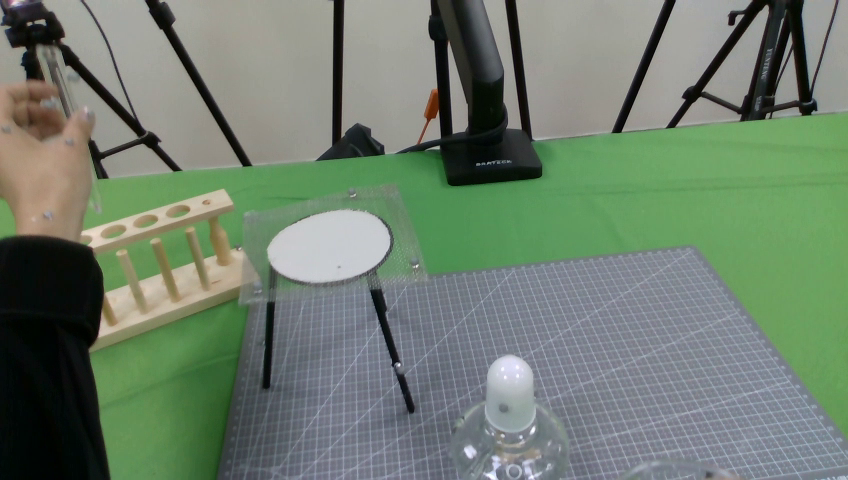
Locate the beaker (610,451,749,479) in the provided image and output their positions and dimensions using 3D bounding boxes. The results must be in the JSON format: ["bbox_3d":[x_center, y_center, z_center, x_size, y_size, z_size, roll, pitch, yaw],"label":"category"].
[{"bbox_3d":[0.107,0.155,0.261,0.084,0.101,0.073,-17,34,-14],"label":"beaker"}]

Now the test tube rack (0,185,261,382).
[{"bbox_3d":[-0.286,0.035,0.560,0.243,0.086,0.066,-21,40,-22],"label":"test tube rack"}]

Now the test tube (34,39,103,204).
[{"bbox_3d":[-0.276,-0.086,0.475,0.017,0.151,0.017,7,45,-6],"label":"test tube"}]

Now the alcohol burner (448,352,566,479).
[{"bbox_3d":[0.054,0.118,0.390,0.078,0.120,0.077,-2,35,2],"label":"alcohol burner"}]

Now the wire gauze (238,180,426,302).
[{"bbox_3d":[-0.071,-0.002,0.433,0.125,0.011,0.120,-10,37,-7],"label":"wire gauze"}]

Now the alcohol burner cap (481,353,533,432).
[{"bbox_3d":[0.050,0.090,0.368,0.034,0.048,0.033,-3,39,3],"label":"alcohol burner cap"}]

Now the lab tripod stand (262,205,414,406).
[{"bbox_3d":[-0.066,0.052,0.473,0.148,0.133,0.147,-3,39,3],"label":"lab tripod stand"}]
